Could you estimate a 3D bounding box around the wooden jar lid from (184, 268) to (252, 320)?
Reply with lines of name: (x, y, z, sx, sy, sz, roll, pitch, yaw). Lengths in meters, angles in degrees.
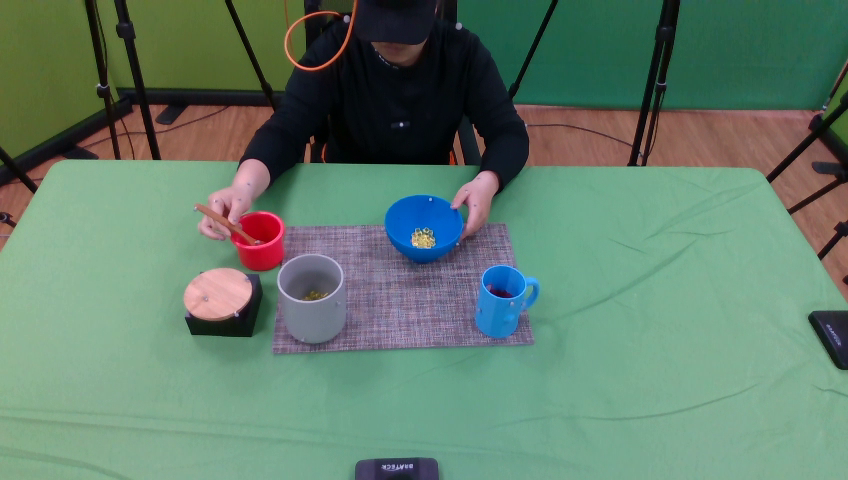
wooden jar lid: (-0.343, 0.092, 1.015, 0.108, 0.021, 0.107, 3, 46, -3)

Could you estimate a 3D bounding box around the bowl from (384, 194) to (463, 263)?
bowl: (-0.002, -0.010, 1.164, 0.151, 0.077, 0.150, 2, 46, -2)

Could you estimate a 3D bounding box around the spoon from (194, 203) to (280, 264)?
spoon: (-0.330, -0.013, 1.083, 0.021, 0.195, 0.041, -14, 52, 27)

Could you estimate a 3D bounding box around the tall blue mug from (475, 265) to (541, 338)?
tall blue mug: (0.142, 0.098, 1.047, 0.077, 0.108, 0.107, 33, 53, 27)

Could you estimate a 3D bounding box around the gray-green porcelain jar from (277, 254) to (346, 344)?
gray-green porcelain jar: (-0.184, 0.102, 1.008, 0.106, 0.127, 0.105, 2, 46, -2)
